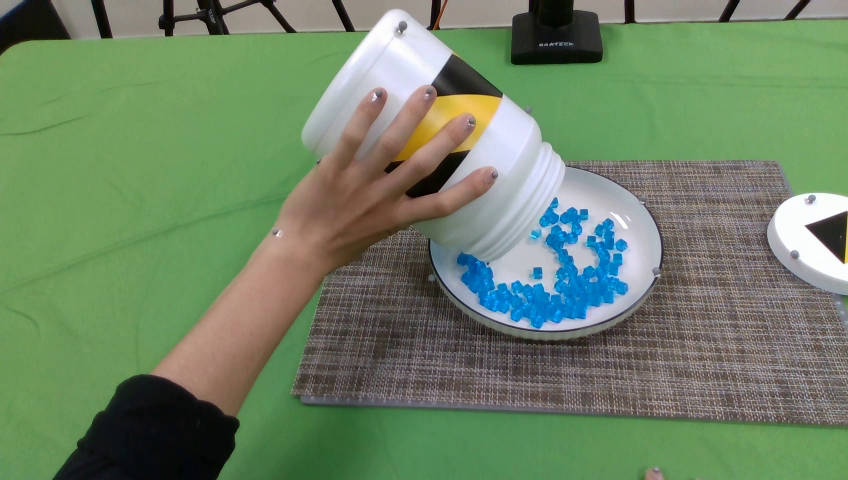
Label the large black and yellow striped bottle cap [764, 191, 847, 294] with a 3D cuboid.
[{"bbox_3d":[0.372,0.000,0.549,0.115,0.019,0.114,-1,48,1],"label":"large black and yellow striped bottle cap"}]

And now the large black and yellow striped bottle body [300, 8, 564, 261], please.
[{"bbox_3d":[0.009,-0.078,0.492,0.185,0.131,0.130,36,52,-11],"label":"large black and yellow striped bottle body"}]

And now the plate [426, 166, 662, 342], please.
[{"bbox_3d":[0.107,0.010,0.555,0.207,0.039,0.205,-3,47,4],"label":"plate"}]
